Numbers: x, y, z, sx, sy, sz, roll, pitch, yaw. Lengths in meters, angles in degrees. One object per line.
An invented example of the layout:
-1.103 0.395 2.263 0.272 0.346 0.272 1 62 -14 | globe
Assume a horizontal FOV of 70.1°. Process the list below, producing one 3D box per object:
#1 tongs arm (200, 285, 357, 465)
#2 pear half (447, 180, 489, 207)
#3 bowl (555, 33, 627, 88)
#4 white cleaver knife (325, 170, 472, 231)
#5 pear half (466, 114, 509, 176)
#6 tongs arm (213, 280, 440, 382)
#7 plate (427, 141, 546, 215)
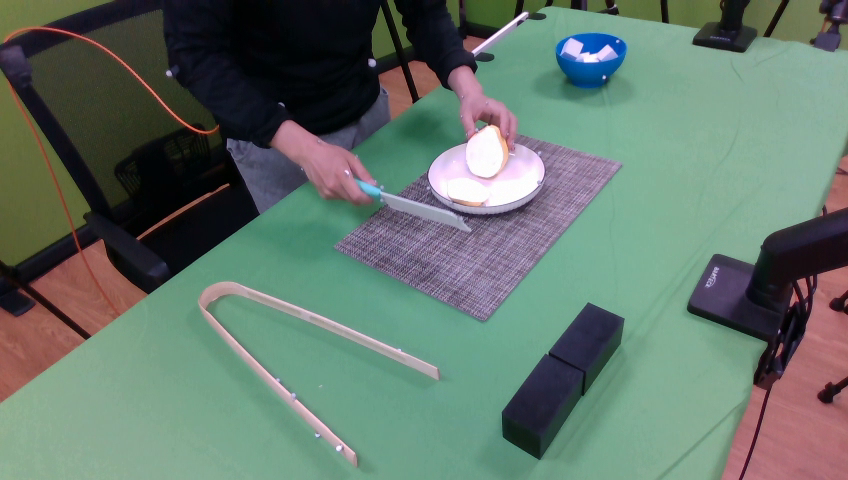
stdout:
-0.199 0.162 0.797 0.381 0.026 0.051 28 50 35 | tongs arm
0.069 -0.072 1.016 0.070 0.031 0.088 29 35 33 | pear half
0.360 -0.384 1.317 0.151 0.077 0.150 -4 41 4 | bowl
-0.049 -0.059 0.943 0.284 0.066 0.021 21 77 35 | white cleaver knife
0.116 -0.172 1.062 0.076 0.110 0.056 19 33 14 | pear half
-0.147 0.121 0.846 0.385 0.028 0.028 17 48 25 | tongs arm
0.109 -0.106 1.058 0.207 0.039 0.206 -4 40 4 | plate
